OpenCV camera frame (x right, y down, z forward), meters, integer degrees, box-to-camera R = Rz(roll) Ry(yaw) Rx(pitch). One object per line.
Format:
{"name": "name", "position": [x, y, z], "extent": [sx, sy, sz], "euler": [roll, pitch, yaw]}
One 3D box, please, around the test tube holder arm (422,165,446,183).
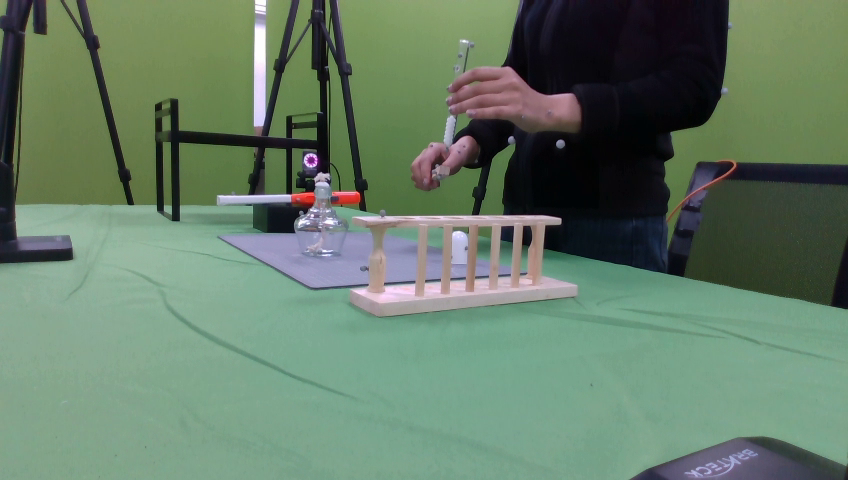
{"name": "test tube holder arm", "position": [0.015, -0.106, 0.983], "extent": [0.013, 0.015, 0.178], "euler": [14, -1, -10]}

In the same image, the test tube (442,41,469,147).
{"name": "test tube", "position": [0.045, -0.207, 0.866], "extent": [0.017, 0.150, 0.017], "euler": [8, 18, -2]}

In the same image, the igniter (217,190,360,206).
{"name": "igniter", "position": [-0.248, -0.080, 1.150], "extent": [0.278, 0.025, 0.057], "euler": [-5, 7, -29]}

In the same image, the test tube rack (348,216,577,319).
{"name": "test tube rack", "position": [0.048, 0.021, 0.619], "extent": [0.244, 0.085, 0.066], "euler": [-2, 8, -31]}

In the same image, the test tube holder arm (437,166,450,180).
{"name": "test tube holder arm", "position": [0.027, -0.104, 0.939], "extent": [0.010, 0.015, 0.087], "euler": [15, -1, -8]}

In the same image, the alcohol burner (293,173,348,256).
{"name": "alcohol burner", "position": [-0.146, -0.036, 0.859], "extent": [0.078, 0.119, 0.078], "euler": [4, 8, 0]}

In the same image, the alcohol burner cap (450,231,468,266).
{"name": "alcohol burner cap", "position": [0.046, 0.011, 0.838], "extent": [0.034, 0.048, 0.034], "euler": [2, 6, 0]}
